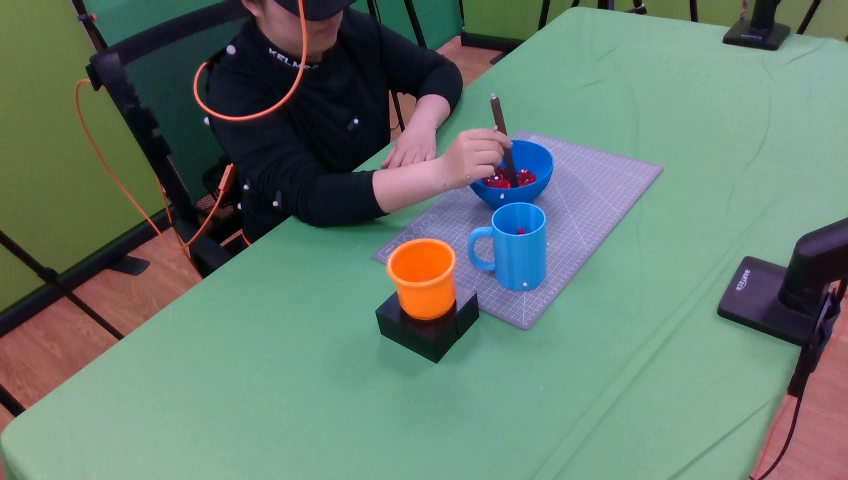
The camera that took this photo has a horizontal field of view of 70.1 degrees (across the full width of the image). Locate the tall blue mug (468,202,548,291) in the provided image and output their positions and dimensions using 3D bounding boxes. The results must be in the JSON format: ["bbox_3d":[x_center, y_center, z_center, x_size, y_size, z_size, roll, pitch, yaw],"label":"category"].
[{"bbox_3d":[0.125,0.015,0.869,0.107,0.108,0.077,-21,42,-14],"label":"tall blue mug"}]

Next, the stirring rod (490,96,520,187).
[{"bbox_3d":[0.127,-0.147,0.938,0.014,0.177,0.005,-25,41,-3],"label":"stirring rod"}]

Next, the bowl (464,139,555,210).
[{"bbox_3d":[0.145,-0.100,1.025,0.151,0.077,0.150,-5,40,5],"label":"bowl"}]
